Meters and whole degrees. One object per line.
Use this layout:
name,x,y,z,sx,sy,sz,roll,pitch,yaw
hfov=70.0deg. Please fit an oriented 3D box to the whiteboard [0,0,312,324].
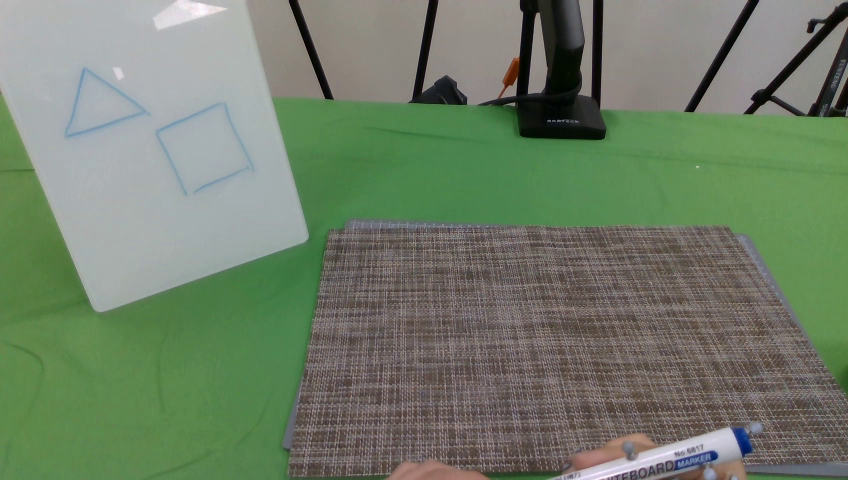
whiteboard,-0.272,-0.112,0.613,0.218,0.307,0.142,-21,23,-25

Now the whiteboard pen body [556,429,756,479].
whiteboard pen body,0.098,0.125,0.315,0.140,0.017,0.017,-23,34,15
